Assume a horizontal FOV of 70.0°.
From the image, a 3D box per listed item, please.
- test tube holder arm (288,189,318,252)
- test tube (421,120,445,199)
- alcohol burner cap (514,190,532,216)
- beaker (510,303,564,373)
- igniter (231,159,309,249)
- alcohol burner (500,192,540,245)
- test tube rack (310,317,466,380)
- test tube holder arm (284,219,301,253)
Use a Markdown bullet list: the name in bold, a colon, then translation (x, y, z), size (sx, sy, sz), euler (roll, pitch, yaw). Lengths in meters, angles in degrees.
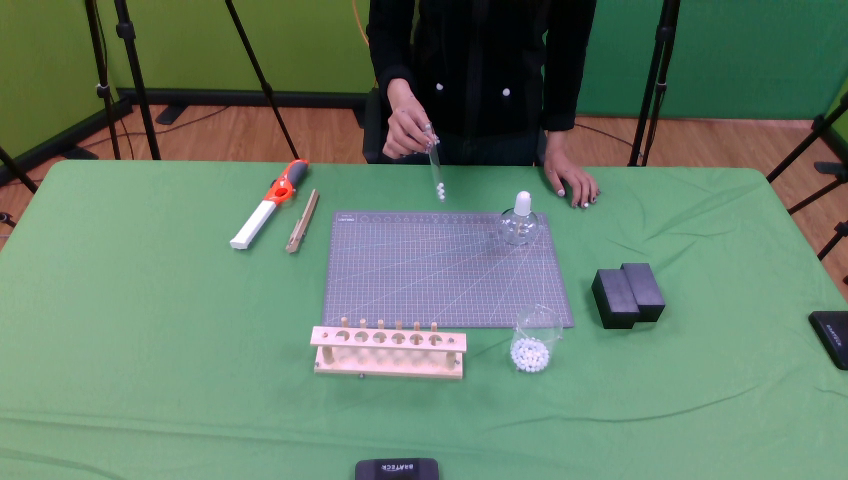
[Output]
- **test tube holder arm**: translation (-0.242, -0.043, 1.223), size (0.013, 0.015, 0.177), euler (-14, 39, 25)
- **test tube**: translation (0.017, -0.138, 1.064), size (0.017, 0.151, 0.017), euler (-9, 32, 6)
- **alcohol burner cap**: translation (0.192, -0.074, 1.166), size (0.034, 0.048, 0.033), euler (1, 41, -1)
- **beaker**: translation (0.182, 0.164, 1.000), size (0.074, 0.101, 0.083), euler (2, 46, -1)
- **igniter**: translation (-0.313, -0.082, 1.251), size (0.057, 0.025, 0.275), euler (8, 45, 18)
- **alcohol burner**: translation (0.190, -0.048, 1.190), size (0.078, 0.120, 0.077), euler (1, 47, -1)
- **test tube rack**: translation (-0.056, 0.171, 0.987), size (0.242, 0.085, 0.066), euler (3, 45, -1)
- **test tube holder arm**: translation (-0.254, -0.010, 1.194), size (0.010, 0.015, 0.087), euler (-14, 39, 26)
